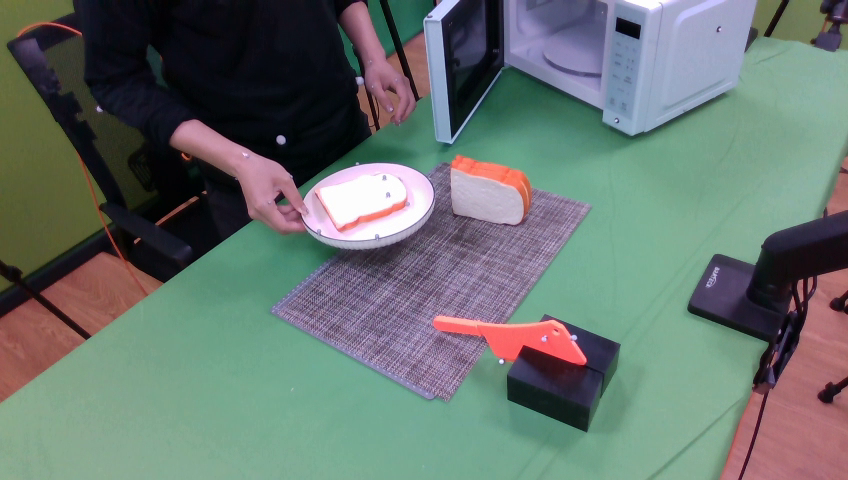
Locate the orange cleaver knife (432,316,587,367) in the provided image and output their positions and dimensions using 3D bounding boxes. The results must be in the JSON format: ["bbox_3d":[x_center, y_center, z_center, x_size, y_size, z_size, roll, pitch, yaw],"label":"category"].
[{"bbox_3d":[0.101,0.127,0.761,0.210,0.077,0.012,-1,34,40],"label":"orange cleaver knife"}]

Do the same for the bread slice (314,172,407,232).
[{"bbox_3d":[-0.095,-0.065,0.948,0.135,0.018,0.106,-22,45,-20],"label":"bread slice"}]

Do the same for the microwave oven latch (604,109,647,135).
[{"bbox_3d":[0.378,-0.225,1.139,0.030,0.029,0.078,-26,43,-20],"label":"microwave oven latch"}]

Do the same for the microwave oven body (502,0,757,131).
[{"bbox_3d":[0.396,-0.448,1.248,0.327,0.261,0.437,-27,44,-21],"label":"microwave oven body"}]

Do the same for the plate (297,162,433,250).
[{"bbox_3d":[-0.088,-0.049,0.931,0.207,0.039,0.206,-4,39,4],"label":"plate"}]

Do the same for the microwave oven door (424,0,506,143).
[{"bbox_3d":[0.093,-0.392,1.218,0.039,0.245,0.356,11,44,21],"label":"microwave oven door"}]
